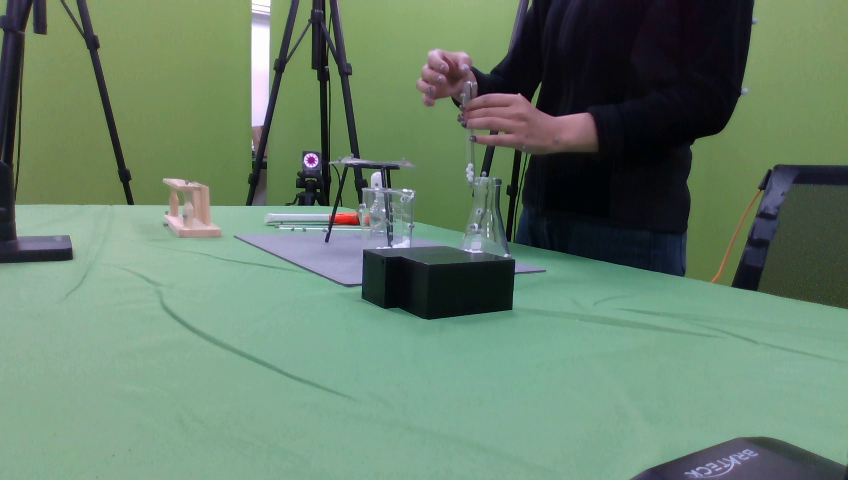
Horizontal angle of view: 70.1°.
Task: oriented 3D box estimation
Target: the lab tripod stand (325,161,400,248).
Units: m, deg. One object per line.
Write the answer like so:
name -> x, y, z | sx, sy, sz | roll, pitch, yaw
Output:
lab tripod stand -> -0.083, -0.060, 0.977 | 0.148, 0.131, 0.148 | 4, 8, 0

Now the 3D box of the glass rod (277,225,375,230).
glass rod -> -0.187, -0.024, 1.178 | 0.201, 0.008, 0.008 | 1, 6, -31

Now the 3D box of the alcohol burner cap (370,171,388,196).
alcohol burner cap -> -0.085, -0.104, 1.120 | 0.034, 0.048, 0.034 | -4, 8, 1

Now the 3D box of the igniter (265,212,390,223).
igniter -> -0.196, -0.048, 1.286 | 0.278, 0.025, 0.057 | -2, -2, -30

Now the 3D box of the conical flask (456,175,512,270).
conical flask -> 0.082, -0.025, 0.801 | 0.075, 0.122, 0.075 | 2, 7, 0

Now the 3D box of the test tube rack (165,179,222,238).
test tube rack -> -0.423, -0.062, 1.098 | 0.067, 0.085, 0.241 | -2, 9, -28

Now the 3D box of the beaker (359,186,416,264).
beaker -> -0.048, -0.021, 0.817 | 0.083, 0.100, 0.074 | 9, 10, 41

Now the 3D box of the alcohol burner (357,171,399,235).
alcohol burner -> -0.085, -0.069, 1.125 | 0.078, 0.119, 0.078 | 3, 10, 0

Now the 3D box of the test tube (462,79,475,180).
test tube -> 0.067, -0.165, 0.908 | 0.017, 0.150, 0.017 | -2, 6, 1

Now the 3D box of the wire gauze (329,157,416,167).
wire gauze -> -0.079, -0.126, 0.972 | 0.121, 0.011, 0.125 | 4, 8, 5
